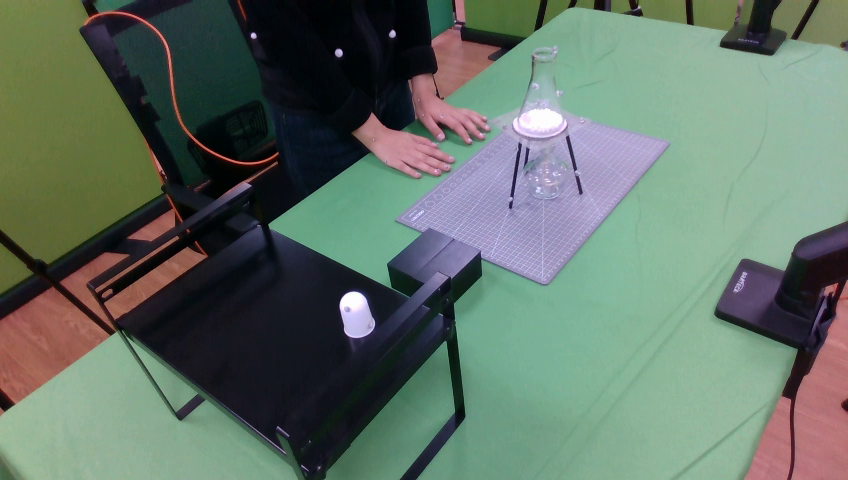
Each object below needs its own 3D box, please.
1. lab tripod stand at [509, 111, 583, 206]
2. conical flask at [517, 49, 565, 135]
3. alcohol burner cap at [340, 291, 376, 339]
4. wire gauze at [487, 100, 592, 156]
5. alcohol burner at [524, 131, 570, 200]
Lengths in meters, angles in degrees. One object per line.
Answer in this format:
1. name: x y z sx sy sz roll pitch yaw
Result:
1. lab tripod stand: 0.198 -0.139 1.019 0.148 0.132 0.147 -3 39 3
2. conical flask: 0.183 -0.231 0.936 0.075 0.122 0.075 -4 40 4
3. alcohol burner cap: -0.067 0.072 0.605 0.034 0.048 0.033 -5 42 5
4. wire gauze: 0.185 -0.187 0.974 0.122 0.011 0.124 -28 47 -22
5. alcohol burner: 0.208 -0.129 1.021 0.078 0.119 0.077 -5 38 4
